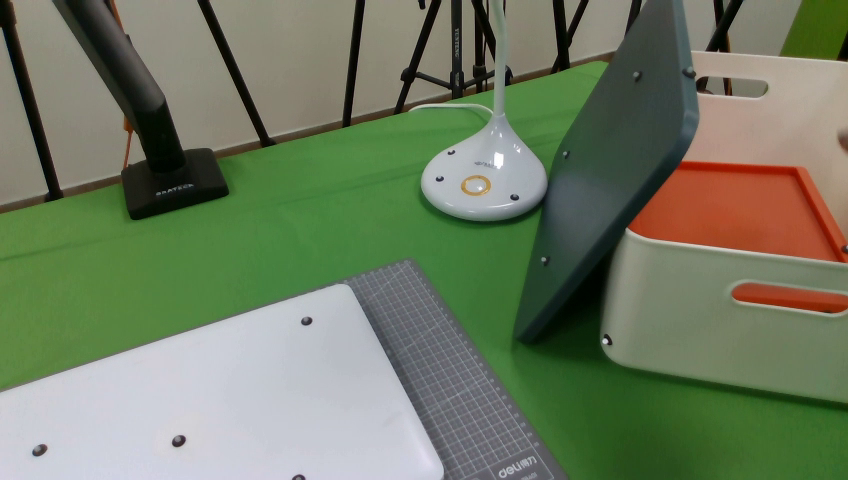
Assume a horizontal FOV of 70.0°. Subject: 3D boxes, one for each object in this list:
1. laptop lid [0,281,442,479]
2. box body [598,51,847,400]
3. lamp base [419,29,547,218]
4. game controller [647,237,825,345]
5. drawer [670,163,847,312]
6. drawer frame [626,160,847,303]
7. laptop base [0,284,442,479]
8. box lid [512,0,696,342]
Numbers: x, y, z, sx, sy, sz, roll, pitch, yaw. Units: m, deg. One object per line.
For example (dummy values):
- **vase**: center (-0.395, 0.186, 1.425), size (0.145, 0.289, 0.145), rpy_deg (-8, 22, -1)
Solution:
- **laptop lid**: center (-0.190, 0.157, 0.474), size (0.357, 0.013, 0.239), rpy_deg (-16, 43, -17)
- **box body**: center (0.309, -0.037, 0.594), size (0.253, 0.162, 0.361), rpy_deg (7, 40, 12)
- **lamp base**: center (0.073, -0.146, 0.724), size (0.160, 0.182, 0.178), rpy_deg (7, 38, 12)
- **game controller**: center (0.288, 0.045, 0.562), size (0.155, 0.052, 0.096), rpy_deg (1, 67, 8)
- **drawer**: center (0.293, 0.007, 0.585), size (0.194, 0.074, 0.210), rpy_deg (5, 39, 10)
- **drawer frame**: center (0.288, 0.009, 0.590), size (0.201, 0.083, 0.212), rpy_deg (4, 38, 8)
- **laptop base**: center (-0.190, 0.165, 0.484), size (0.355, 0.023, 0.232), rpy_deg (-17, 45, -18)
- **box lid**: center (0.175, -0.092, 0.602), size (0.015, 0.264, 0.369), rpy_deg (25, 42, -1)
